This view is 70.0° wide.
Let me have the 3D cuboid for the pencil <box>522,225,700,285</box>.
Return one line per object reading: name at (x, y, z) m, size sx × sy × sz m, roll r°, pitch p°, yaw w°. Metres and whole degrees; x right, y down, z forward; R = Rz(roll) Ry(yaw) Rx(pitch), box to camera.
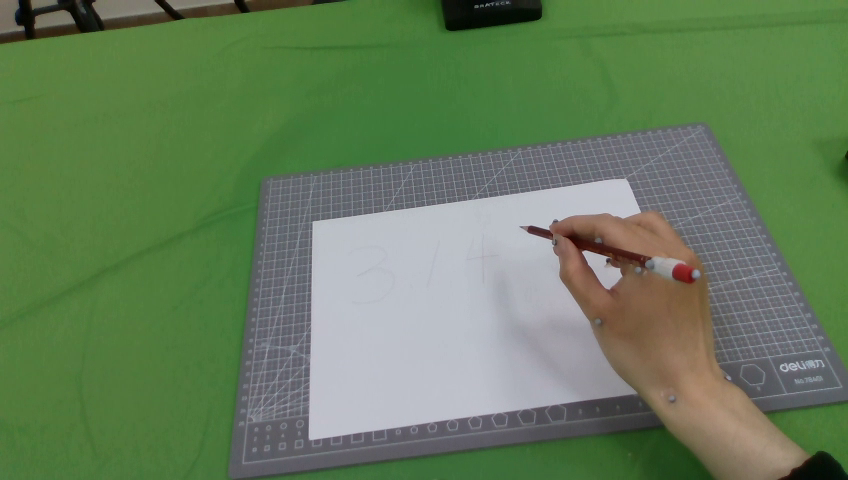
pencil at (0.112, 0.004, 0.409) m, size 0.012 × 0.012 × 0.192 m, roll -25°, pitch 16°, yaw -13°
